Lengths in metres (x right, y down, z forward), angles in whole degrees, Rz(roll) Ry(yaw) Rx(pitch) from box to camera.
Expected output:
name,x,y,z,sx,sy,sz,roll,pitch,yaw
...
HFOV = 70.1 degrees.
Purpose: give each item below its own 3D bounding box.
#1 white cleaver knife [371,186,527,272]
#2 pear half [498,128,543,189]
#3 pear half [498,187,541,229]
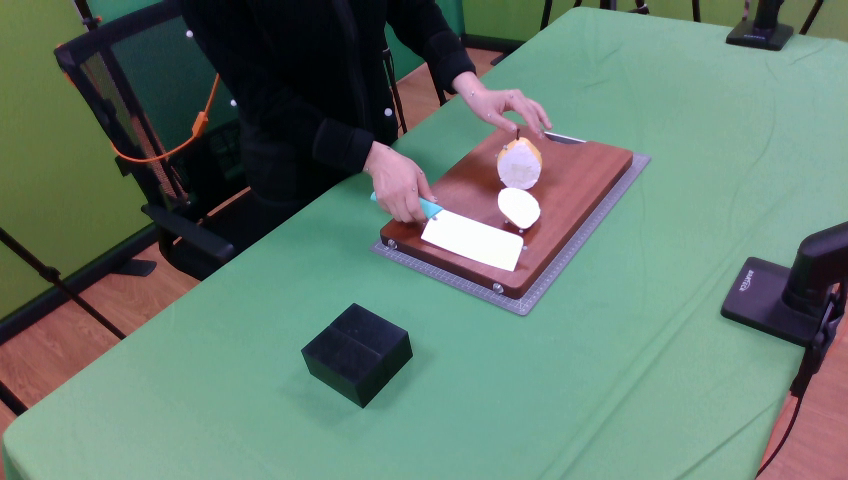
name,x,y,z,sx,sy,sz,roll,pitch,yaw
white cleaver knife,0.027,-0.022,0.943,0.284,0.022,0.066,22,77,29
pear half,0.162,-0.145,1.014,0.076,0.110,0.056,2,41,8
pear half,0.149,-0.044,0.956,0.070,0.031,0.087,4,54,-9
